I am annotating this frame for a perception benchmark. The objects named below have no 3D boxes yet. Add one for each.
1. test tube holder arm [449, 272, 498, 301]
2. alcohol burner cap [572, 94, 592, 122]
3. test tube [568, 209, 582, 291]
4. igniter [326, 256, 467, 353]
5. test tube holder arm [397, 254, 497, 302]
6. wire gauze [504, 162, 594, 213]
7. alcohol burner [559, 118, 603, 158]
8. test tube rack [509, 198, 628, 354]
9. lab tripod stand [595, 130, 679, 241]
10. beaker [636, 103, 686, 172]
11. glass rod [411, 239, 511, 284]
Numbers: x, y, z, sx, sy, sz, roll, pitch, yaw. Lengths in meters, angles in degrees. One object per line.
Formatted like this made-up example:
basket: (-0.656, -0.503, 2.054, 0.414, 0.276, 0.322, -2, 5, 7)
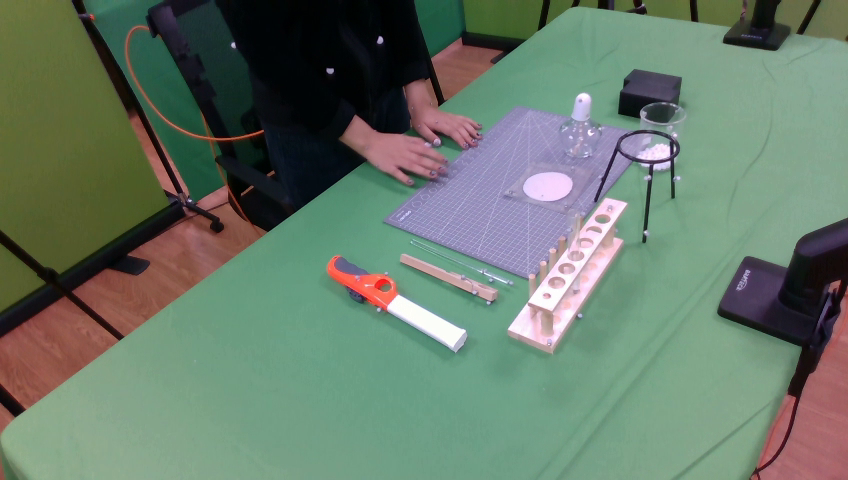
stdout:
test tube holder arm: (0.070, 0.068, 0.894, 0.087, 0.015, 0.010, 22, 12, 31)
alcohol burner cap: (0.284, -0.238, 1.079, 0.034, 0.048, 0.033, -1, 48, 2)
test tube: (0.200, 0.017, 0.799, 0.017, 0.151, 0.017, -8, 45, 8)
igniter: (-0.051, 0.088, 0.886, 0.274, 0.025, 0.057, 26, 61, 35)
test tube holder arm: (0.031, 0.054, 0.912, 0.177, 0.015, 0.013, 21, 12, 29)
wire gauze: (0.220, -0.098, 1.065, 0.124, 0.011, 0.122, 17, 47, 32)
alcohol burner: (0.287, -0.212, 1.104, 0.078, 0.119, 0.077, -4, 40, 4)
test tube rack: (0.206, 0.039, 0.850, 0.066, 0.085, 0.243, 20, 48, 31)
lab tripod stand: (0.342, -0.095, 0.943, 0.148, 0.132, 0.147, -4, 39, 4)
beaker: (0.413, -0.177, 1.055, 0.084, 0.101, 0.073, -28, 44, -21)
glass rod: (0.053, 0.033, 0.946, 0.198, 0.008, 0.008, 23, 50, 36)
